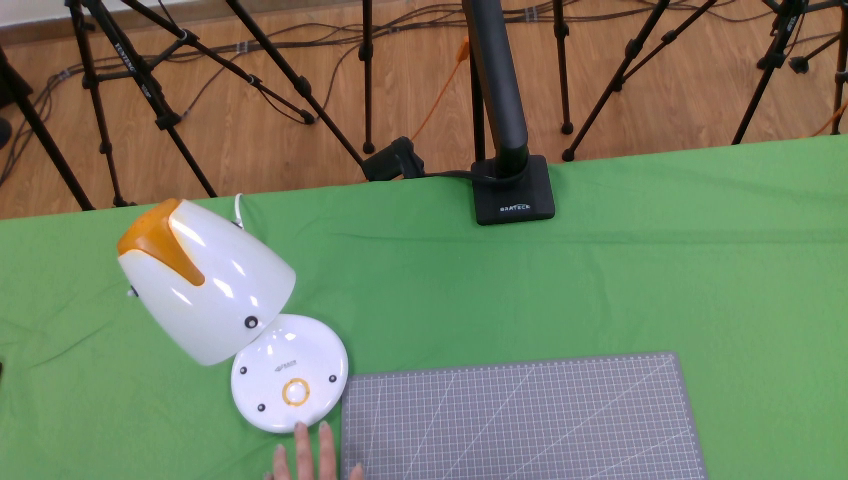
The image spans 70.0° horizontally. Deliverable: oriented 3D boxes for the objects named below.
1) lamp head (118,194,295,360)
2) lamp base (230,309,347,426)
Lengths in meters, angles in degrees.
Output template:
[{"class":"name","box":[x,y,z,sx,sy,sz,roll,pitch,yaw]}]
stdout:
[{"class":"lamp head","box":[-0.188,0.020,0.505,0.112,0.124,0.111,-32,24,17]},{"class":"lamp base","box":[-0.200,0.129,0.768,0.160,0.182,0.177,-32,61,-11]}]
